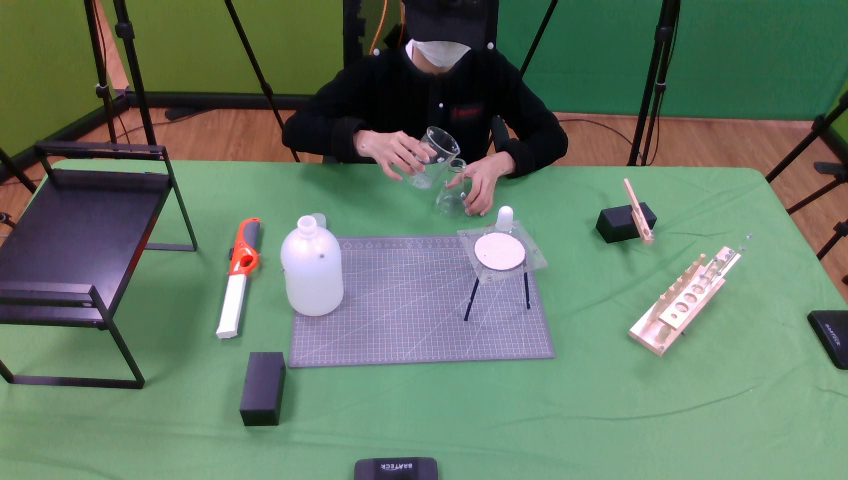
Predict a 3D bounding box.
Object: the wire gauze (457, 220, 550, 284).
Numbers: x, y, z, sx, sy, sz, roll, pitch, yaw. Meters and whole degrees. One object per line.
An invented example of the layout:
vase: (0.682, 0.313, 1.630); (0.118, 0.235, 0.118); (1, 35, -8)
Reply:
wire gauze: (0.131, 0.014, 1.016); (0.121, 0.011, 0.124); (-11, 46, -14)

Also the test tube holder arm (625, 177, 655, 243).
test tube holder arm: (0.433, -0.063, 1.220); (0.013, 0.015, 0.177); (1, 47, -3)

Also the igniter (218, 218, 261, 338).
igniter: (-0.336, 0.060, 1.111); (0.057, 0.025, 0.274); (-8, 46, 4)

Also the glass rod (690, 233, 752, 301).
glass rod: (0.507, 0.053, 1.041); (0.008, 0.200, 0.008); (5, 51, -6)

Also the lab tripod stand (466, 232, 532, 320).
lab tripod stand: (0.125, 0.059, 1.065); (0.148, 0.132, 0.147); (1, 45, 0)

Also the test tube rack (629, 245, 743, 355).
test tube rack: (0.474, 0.095, 1.091); (0.242, 0.085, 0.066); (-34, 56, -31)

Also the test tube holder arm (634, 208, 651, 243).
test tube holder arm: (0.428, -0.030, 1.189); (0.010, 0.015, 0.087); (2, 47, -2)

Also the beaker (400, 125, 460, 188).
beaker: (0.010, -0.152, 1.129); (0.084, 0.100, 0.073); (10, 42, -41)

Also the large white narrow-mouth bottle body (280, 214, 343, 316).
large white narrow-mouth bottle body: (-0.190, 0.035, 1.025); (0.102, 0.195, 0.101); (2, 46, -2)

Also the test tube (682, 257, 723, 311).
test tube: (0.474, 0.080, 1.037); (0.017, 0.151, 0.017); (1, 51, -1)

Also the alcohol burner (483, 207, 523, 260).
alcohol burner: (0.152, -0.018, 1.156); (0.078, 0.120, 0.077); (0, 47, 0)

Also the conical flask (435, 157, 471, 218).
conical flask: (0.064, -0.111, 1.238); (0.075, 0.122, 0.075); (2, 46, -2)

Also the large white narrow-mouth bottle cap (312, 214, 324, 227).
large white narrow-mouth bottle cap: (-0.219, -0.033, 1.214); (0.038, 0.024, 0.037); (2, 46, -2)

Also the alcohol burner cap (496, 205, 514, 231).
alcohol burner cap: (0.153, -0.044, 1.131); (0.034, 0.048, 0.033); (2, 40, -1)
